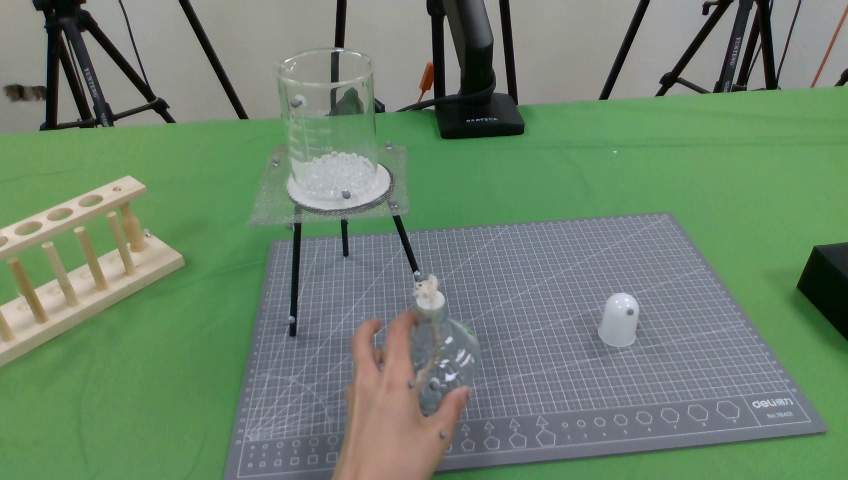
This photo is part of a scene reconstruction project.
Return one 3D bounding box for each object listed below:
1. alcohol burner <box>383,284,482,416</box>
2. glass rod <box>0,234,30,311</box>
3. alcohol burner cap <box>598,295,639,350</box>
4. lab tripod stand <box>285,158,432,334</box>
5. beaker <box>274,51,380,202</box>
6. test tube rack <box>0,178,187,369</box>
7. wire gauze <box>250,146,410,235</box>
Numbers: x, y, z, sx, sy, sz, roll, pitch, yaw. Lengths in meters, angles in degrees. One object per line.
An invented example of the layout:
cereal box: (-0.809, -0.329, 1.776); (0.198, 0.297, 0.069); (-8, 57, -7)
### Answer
alcohol burner: (0.007, 0.078, 0.460); (0.078, 0.120, 0.077); (0, 39, 0)
glass rod: (-0.376, -0.021, 0.522); (0.008, 0.201, 0.008); (0, 29, 1)
alcohol burner cap: (0.171, 0.069, 0.527); (0.034, 0.048, 0.033); (-1, 37, 1)
lab tripod stand: (-0.064, 0.004, 0.544); (0.148, 0.132, 0.147); (0, 36, 0)
beaker: (-0.075, -0.088, 0.475); (0.083, 0.101, 0.074); (21, 41, 24)
test tube rack: (-0.352, 0.038, 0.553); (0.066, 0.086, 0.242); (26, 45, 32)
wire gauze: (-0.074, -0.047, 0.502); (0.121, 0.011, 0.124); (-2, 39, -2)
